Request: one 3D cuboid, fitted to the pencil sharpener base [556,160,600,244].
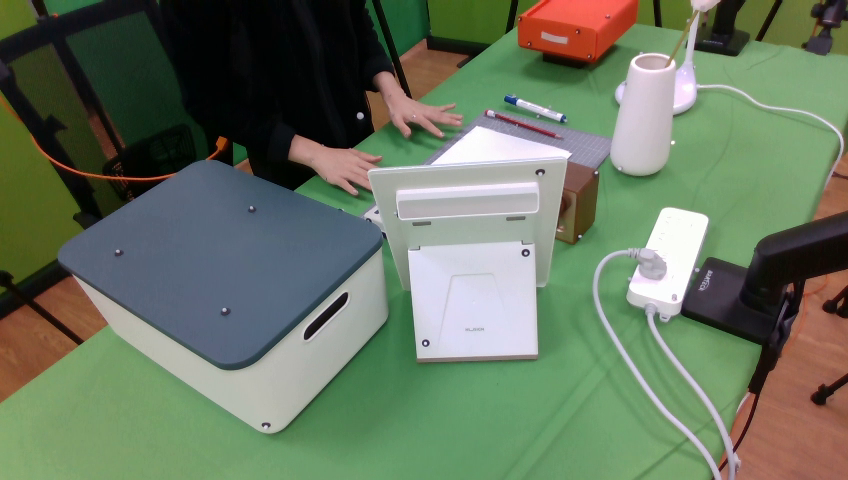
[{"bbox_3d":[0.228,-0.057,0.945,0.061,0.107,0.077,24,50,31],"label":"pencil sharpener base"}]

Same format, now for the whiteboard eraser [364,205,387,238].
[{"bbox_3d":[-0.040,-0.025,0.991,0.112,0.042,0.056,21,49,29],"label":"whiteboard eraser"}]

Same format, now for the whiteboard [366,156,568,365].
[{"bbox_3d":[0.059,0.050,0.738,0.217,0.307,0.143,-2,60,6],"label":"whiteboard"}]

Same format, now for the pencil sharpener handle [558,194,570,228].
[{"bbox_3d":[0.195,-0.038,0.908,0.035,0.068,0.031,24,50,30],"label":"pencil sharpener handle"}]

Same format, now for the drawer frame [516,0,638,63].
[{"bbox_3d":[0.355,-0.508,1.410,0.200,0.083,0.214,23,51,32],"label":"drawer frame"}]

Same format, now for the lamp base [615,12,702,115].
[{"bbox_3d":[0.484,-0.364,1.211,0.180,0.181,0.159,-15,41,-14],"label":"lamp base"}]

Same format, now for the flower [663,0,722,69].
[{"bbox_3d":[0.379,-0.261,0.965,0.044,0.362,0.038,21,53,5],"label":"flower"}]

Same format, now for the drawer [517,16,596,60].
[{"bbox_3d":[0.353,-0.506,1.405,0.193,0.073,0.212,23,49,32],"label":"drawer"}]

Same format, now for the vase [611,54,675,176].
[{"bbox_3d":[0.377,-0.209,1.031,0.098,0.201,0.097,-3,40,3],"label":"vase"}]

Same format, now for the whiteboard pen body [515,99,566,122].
[{"bbox_3d":[0.234,-0.274,1.262,0.139,0.017,0.017,28,51,29],"label":"whiteboard pen body"}]

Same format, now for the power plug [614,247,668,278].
[{"bbox_3d":[0.306,0.031,0.851,0.072,0.053,0.035,24,49,33],"label":"power plug"}]

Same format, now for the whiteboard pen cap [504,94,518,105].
[{"bbox_3d":[0.189,-0.299,1.292,0.033,0.018,0.018,30,52,28],"label":"whiteboard pen cap"}]

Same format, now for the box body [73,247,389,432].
[{"bbox_3d":[-0.255,0.065,0.827,0.361,0.161,0.255,21,48,29],"label":"box body"}]

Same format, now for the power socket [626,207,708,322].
[{"bbox_3d":[0.359,0.025,0.886,0.072,0.033,0.227,16,46,26],"label":"power socket"}]

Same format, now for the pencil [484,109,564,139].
[{"bbox_3d":[0.201,-0.235,1.229,0.192,0.012,0.012,28,51,32],"label":"pencil"}]

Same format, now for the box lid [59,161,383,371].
[{"bbox_3d":[-0.262,0.010,0.777,0.369,0.015,0.264,21,48,29],"label":"box lid"}]
